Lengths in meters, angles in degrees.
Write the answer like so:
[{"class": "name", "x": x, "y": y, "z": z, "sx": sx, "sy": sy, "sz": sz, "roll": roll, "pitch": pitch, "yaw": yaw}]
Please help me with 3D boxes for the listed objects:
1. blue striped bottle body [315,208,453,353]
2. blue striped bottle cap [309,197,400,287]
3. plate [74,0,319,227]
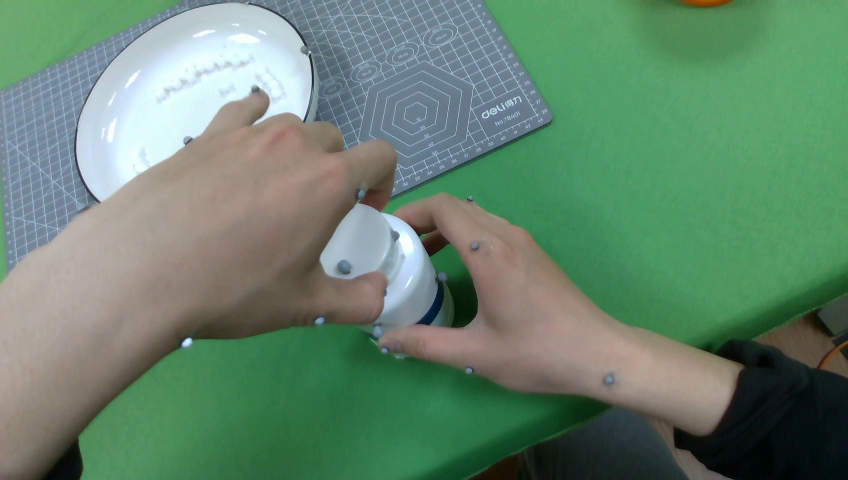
[{"class": "blue striped bottle body", "x": -0.023, "y": 0.024, "z": 0.360, "sx": 0.063, "sy": 0.122, "sz": 0.062, "roll": -5, "pitch": 66, "yaw": 11}, {"class": "blue striped bottle cap", "x": -0.036, "y": 0.001, "z": 0.310, "sx": 0.044, "sy": 0.021, "sz": 0.044, "roll": -3, "pitch": 74, "yaw": 12}, {"class": "plate", "x": -0.180, "y": -0.102, "z": 0.493, "sx": 0.207, "sy": 0.039, "sz": 0.206, "roll": -5, "pitch": 67, "yaw": 11}]
